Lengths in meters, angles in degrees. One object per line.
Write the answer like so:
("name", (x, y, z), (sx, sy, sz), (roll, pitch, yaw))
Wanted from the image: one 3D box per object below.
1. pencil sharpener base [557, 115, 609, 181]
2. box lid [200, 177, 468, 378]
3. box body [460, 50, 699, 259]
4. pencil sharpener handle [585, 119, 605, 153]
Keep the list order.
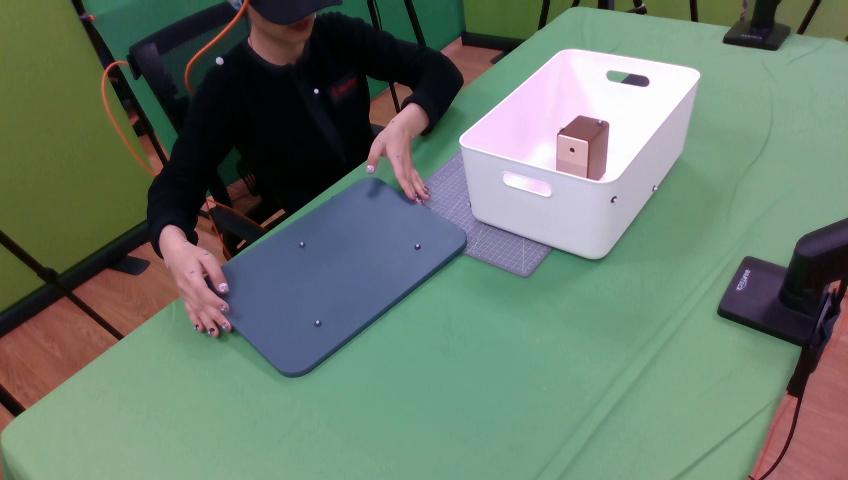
("pencil sharpener base", (0.270, -0.147, 1.024), (0.061, 0.107, 0.077), (22, 49, 33))
("box lid", (-0.136, 0.035, 0.956), (0.261, 0.015, 0.373), (33, 55, 32))
("box body", (0.261, -0.153, 1.001), (0.252, 0.161, 0.365), (21, 48, 31))
("pencil sharpener handle", (0.301, -0.184, 1.044), (0.035, 0.068, 0.031), (20, 48, 35))
